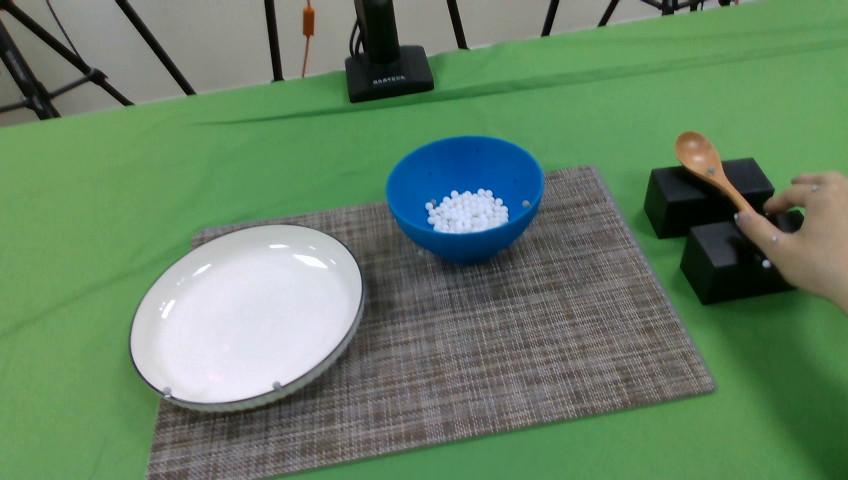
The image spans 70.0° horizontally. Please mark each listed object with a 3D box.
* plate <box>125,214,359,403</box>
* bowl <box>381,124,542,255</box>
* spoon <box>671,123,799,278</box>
[{"bbox_3d":[-0.160,0.060,0.555,0.207,0.039,0.205,-4,46,4],"label":"plate"},{"bbox_3d":[0.038,-0.039,0.594,0.151,0.077,0.150,-4,45,4],"label":"bowl"},{"bbox_3d":[0.275,-0.042,0.542,0.042,0.022,0.191,-4,45,-12],"label":"spoon"}]
